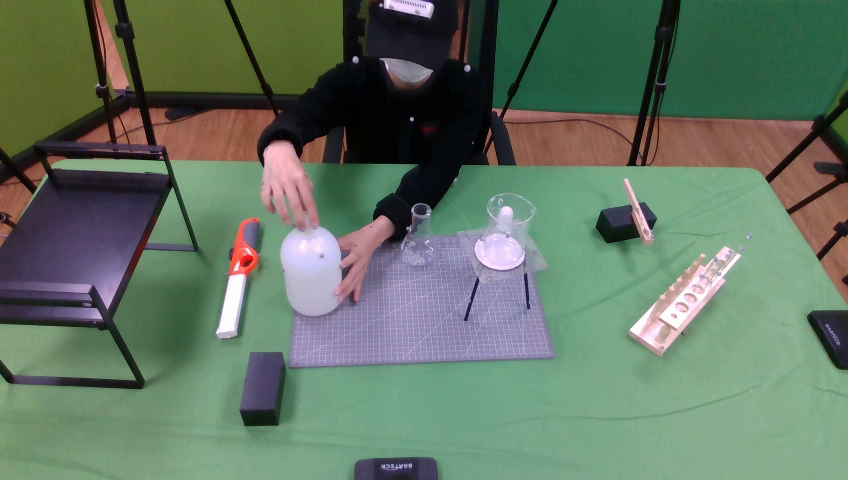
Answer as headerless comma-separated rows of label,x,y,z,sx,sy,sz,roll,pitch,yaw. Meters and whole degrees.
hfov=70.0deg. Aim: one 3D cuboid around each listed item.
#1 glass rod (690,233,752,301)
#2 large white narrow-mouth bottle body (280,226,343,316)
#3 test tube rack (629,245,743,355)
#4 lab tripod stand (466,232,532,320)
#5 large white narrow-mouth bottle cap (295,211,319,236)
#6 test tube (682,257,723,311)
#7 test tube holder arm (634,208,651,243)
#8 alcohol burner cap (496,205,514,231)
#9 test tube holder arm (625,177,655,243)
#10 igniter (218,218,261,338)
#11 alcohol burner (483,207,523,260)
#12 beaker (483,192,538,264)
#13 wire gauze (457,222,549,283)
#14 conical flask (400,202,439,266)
glass rod,0.507,0.053,1.041,0.008,0.200,0.008,5,51,-6
large white narrow-mouth bottle body,-0.191,0.035,1.024,0.102,0.195,0.101,2,46,-2
test tube rack,0.474,0.095,1.091,0.242,0.085,0.066,-34,56,-31
lab tripod stand,0.125,0.059,1.065,0.148,0.132,0.147,1,45,0
large white narrow-mouth bottle cap,-0.185,-0.027,0.959,0.038,0.024,0.037,2,46,-2
test tube,0.475,0.080,1.037,0.017,0.151,0.017,1,50,-1
test tube holder arm,0.428,-0.030,1.189,0.010,0.015,0.087,2,47,-2
alcohol burner cap,0.153,-0.045,1.131,0.034,0.048,0.033,2,40,-1
test tube holder arm,0.433,-0.063,1.220,0.013,0.015,0.177,1,47,-3
igniter,-0.336,0.060,1.111,0.057,0.025,0.274,-7,46,4
alcohol burner,0.152,-0.018,1.156,0.078,0.120,0.077,0,47,0
beaker,0.136,-0.017,0.980,0.084,0.101,0.073,-6,45,-9
wire gauze,0.131,0.016,1.017,0.121,0.011,0.124,-10,44,-15
conical flask,-0.007,-0.014,1.135,0.075,0.122,0.075,2,46,-2
